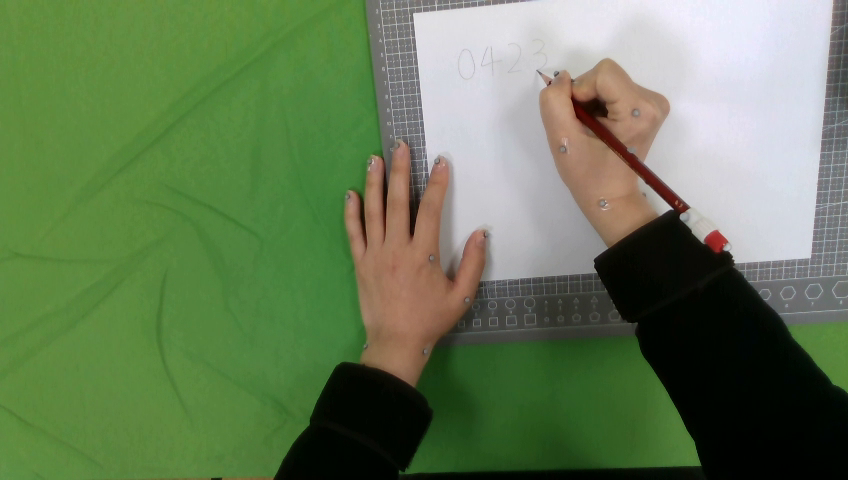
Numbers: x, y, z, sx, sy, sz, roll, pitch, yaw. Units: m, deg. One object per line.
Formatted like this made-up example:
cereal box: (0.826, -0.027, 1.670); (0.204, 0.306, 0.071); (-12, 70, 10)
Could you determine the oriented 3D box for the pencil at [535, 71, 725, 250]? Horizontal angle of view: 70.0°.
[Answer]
pencil: (0.122, -0.061, 0.391); (0.012, 0.192, 0.012); (-19, 140, -16)
